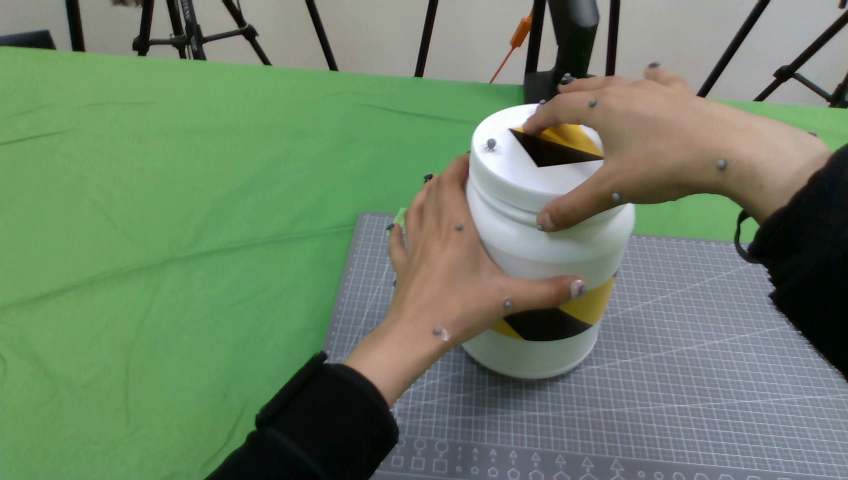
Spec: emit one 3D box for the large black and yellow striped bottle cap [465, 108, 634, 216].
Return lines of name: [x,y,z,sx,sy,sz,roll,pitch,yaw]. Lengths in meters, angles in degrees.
large black and yellow striped bottle cap: [0.086,-0.058,0.420,0.115,0.019,0.114,2,41,-2]

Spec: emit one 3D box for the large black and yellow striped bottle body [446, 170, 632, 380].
large black and yellow striped bottle body: [0.086,0.007,0.479,0.131,0.185,0.129,1,42,-1]
